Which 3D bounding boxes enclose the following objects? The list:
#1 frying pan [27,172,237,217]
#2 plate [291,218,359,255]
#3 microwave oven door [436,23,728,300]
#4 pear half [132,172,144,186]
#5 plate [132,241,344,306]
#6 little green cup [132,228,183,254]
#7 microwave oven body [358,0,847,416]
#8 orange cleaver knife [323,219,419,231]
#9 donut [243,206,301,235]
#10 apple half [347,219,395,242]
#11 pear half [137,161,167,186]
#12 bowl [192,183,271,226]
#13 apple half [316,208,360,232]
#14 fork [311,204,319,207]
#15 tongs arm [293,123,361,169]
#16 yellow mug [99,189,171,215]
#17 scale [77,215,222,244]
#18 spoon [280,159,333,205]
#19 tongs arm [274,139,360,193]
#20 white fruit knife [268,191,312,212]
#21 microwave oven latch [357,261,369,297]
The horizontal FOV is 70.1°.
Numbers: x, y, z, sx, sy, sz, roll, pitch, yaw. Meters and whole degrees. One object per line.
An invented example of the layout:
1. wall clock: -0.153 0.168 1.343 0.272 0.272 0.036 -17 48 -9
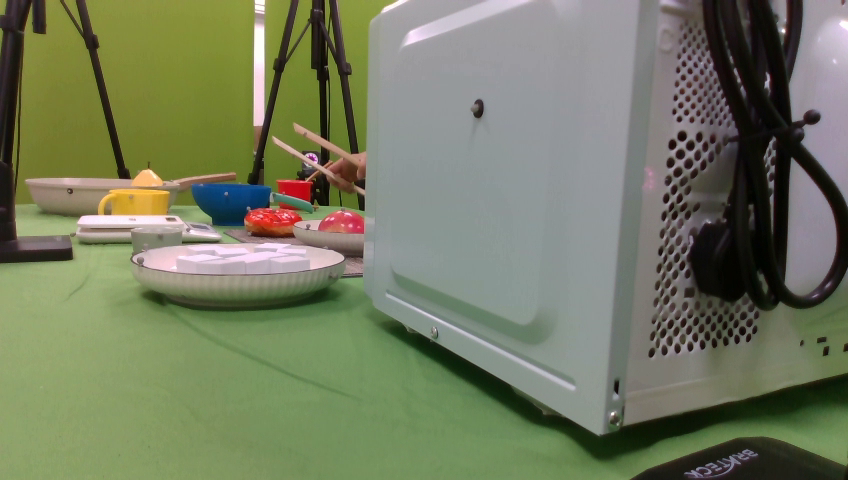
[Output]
1. frying pan: -0.624 -0.118 1.387 0.305 0.102 0.490 8 17 32
2. plate: -0.098 -0.007 0.928 0.209 0.038 0.209 2 8 0
3. microwave oven door: 0.180 -0.072 0.621 0.358 0.243 0.039 -2 9 -29
4. pear half: -0.638 -0.113 1.361 0.031 0.088 0.070 5 11 4
5. plate: -0.187 0.033 0.625 0.208 0.039 0.207 2 8 0
6. little green cup: -0.342 0.006 0.779 0.061 0.038 0.061 2 8 0
7. microwave oven body: 0.211 -0.047 0.474 0.444 0.260 0.324 -1 7 -28
8. orange cleaver knife: -0.097 -0.027 1.152 0.077 0.012 0.212 2 7 41
9. donut: -0.261 -0.032 1.043 0.099 0.048 0.099 4 9 0
10. apple half: -0.084 -0.018 0.967 0.081 0.033 0.081 5 9 -1
11. pear half: -0.602 -0.120 1.354 0.056 0.110 0.076 4 11 6
12. bowl: -0.382 -0.071 1.202 0.151 0.077 0.151 3 7 0
13. apple half: -0.122 -0.020 0.901 0.080 0.053 0.075 4 11 20
14. fork: -0.356 -0.105 1.526 0.208 0.018 0.028 16 -6 -41
15. tongs arm: -0.172 -0.167 1.358 0.050 0.026 0.387 -37 -29 19
16. yellow mug: -0.518 -0.055 1.080 0.099 0.064 0.131 7 9 26
17. scale: -0.434 -0.019 0.963 0.202 0.031 0.148 -1 9 -27
18. spoon: -0.316 -0.159 1.640 0.194 0.022 0.041 -49 32 -20
19. tongs arm: -0.198 -0.148 1.368 0.389 0.028 0.027 25 29 -56
20. white fruit knife: -0.364 -0.105 1.464 0.208 0.027 0.016 15 0 -34
21. microwave oven latch: -0.019 0.033 0.530 0.079 0.029 0.030 -1 7 -26
